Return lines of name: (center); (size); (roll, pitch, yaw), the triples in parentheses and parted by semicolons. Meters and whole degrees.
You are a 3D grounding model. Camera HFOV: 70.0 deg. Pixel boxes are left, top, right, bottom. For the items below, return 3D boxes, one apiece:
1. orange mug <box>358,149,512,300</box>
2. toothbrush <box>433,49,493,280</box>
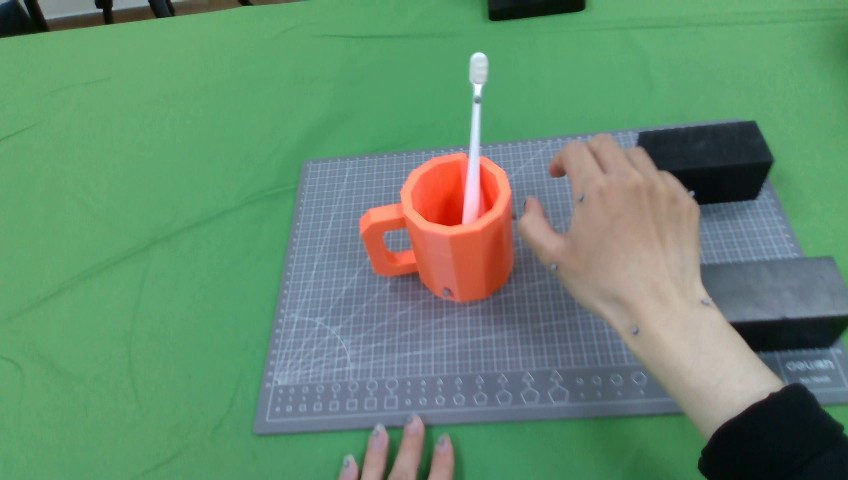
orange mug: (0.012, -0.009, 0.504); (0.126, 0.102, 0.082); (-9, 52, -2)
toothbrush: (0.029, -0.055, 0.474); (0.016, 0.182, 0.014); (21, 16, 38)
